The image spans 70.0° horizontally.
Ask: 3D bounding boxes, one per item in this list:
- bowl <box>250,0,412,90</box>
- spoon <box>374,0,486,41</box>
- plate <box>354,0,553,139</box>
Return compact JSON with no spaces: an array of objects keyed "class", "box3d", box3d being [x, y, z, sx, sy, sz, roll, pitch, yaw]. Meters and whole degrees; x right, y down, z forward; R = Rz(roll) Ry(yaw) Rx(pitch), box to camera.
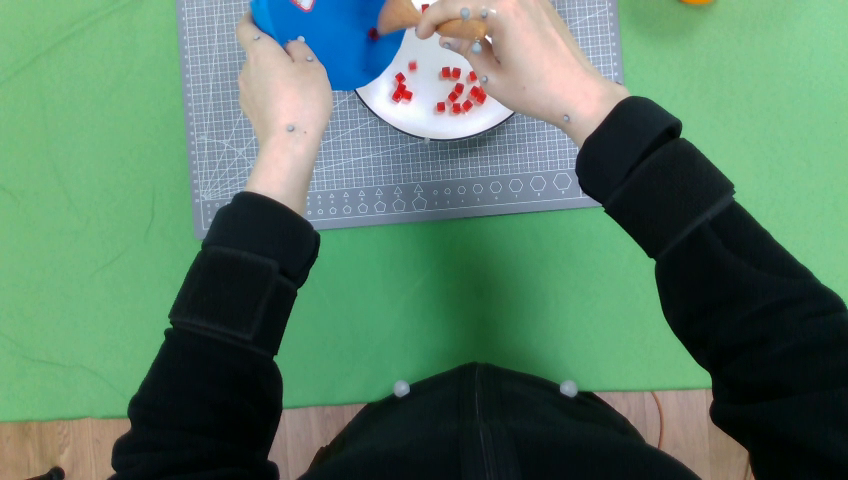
[{"class":"bowl","box3d":[-0.090,-0.208,0.507,0.076,0.153,0.151,23,91,39]},{"class":"spoon","box3d":[0.001,-0.163,0.446,0.022,0.191,0.041,25,100,-35]},{"class":"plate","box3d":[0.021,-0.202,0.600,0.209,0.038,0.209,0,90,3]}]
